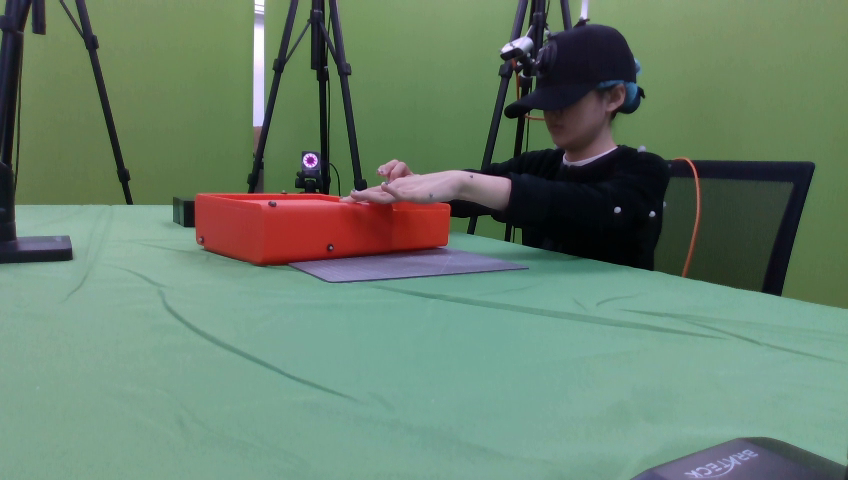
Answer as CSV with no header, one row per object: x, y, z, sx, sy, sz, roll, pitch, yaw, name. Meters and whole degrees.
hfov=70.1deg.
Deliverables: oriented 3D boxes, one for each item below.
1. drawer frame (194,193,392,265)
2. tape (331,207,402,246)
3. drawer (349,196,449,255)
-0.190,-0.024,0.882,0.215,0.082,0.200,-5,11,-44,drawer frame
-0.095,-0.024,0.986,0.117,0.052,0.117,4,6,0,tape
-0.101,-0.028,0.969,0.213,0.073,0.193,-5,12,-45,drawer
